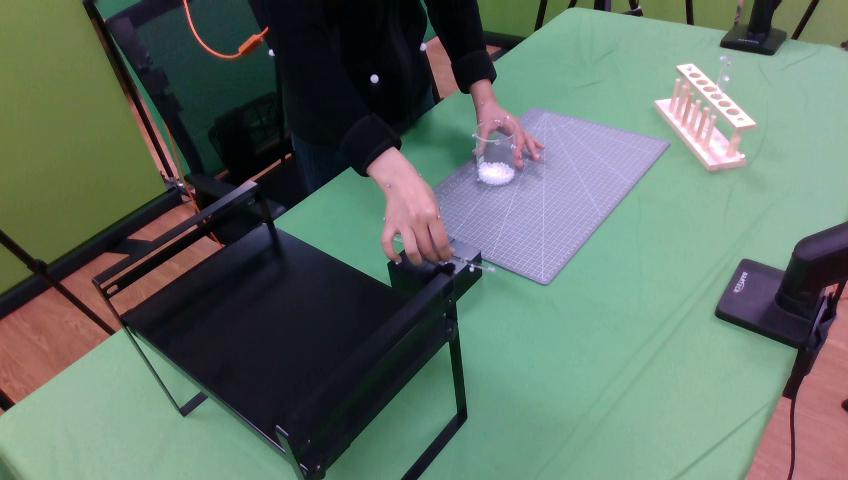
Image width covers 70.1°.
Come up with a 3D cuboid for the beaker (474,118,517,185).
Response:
[{"bbox_3d":[0.130,-0.157,1.074,0.073,0.101,0.084,11,45,20],"label":"beaker"}]

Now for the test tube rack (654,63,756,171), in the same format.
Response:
[{"bbox_3d":[0.511,-0.233,1.120,0.067,0.085,0.241,-8,41,-1],"label":"test tube rack"}]

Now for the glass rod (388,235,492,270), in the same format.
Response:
[{"bbox_3d":[0.018,0.017,0.875,0.198,0.008,0.008,17,45,40],"label":"glass rod"}]

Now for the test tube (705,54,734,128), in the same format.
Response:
[{"bbox_3d":[0.523,-0.260,1.073,0.017,0.151,0.017,-4,46,4],"label":"test tube"}]
